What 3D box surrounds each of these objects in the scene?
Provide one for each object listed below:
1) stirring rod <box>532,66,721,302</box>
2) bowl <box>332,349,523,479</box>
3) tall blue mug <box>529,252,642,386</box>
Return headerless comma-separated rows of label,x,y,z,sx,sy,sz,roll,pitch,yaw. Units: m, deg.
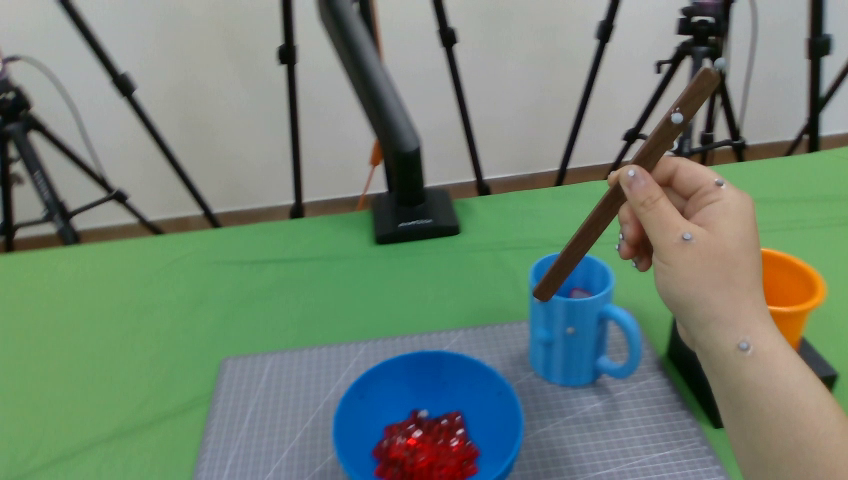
stirring rod,0.120,-0.028,0.376,0.014,0.176,0.006,27,24,-12
bowl,0.005,0.169,0.495,0.151,0.077,0.150,-3,34,2
tall blue mug,0.156,0.079,0.582,0.106,0.109,0.077,9,36,20
